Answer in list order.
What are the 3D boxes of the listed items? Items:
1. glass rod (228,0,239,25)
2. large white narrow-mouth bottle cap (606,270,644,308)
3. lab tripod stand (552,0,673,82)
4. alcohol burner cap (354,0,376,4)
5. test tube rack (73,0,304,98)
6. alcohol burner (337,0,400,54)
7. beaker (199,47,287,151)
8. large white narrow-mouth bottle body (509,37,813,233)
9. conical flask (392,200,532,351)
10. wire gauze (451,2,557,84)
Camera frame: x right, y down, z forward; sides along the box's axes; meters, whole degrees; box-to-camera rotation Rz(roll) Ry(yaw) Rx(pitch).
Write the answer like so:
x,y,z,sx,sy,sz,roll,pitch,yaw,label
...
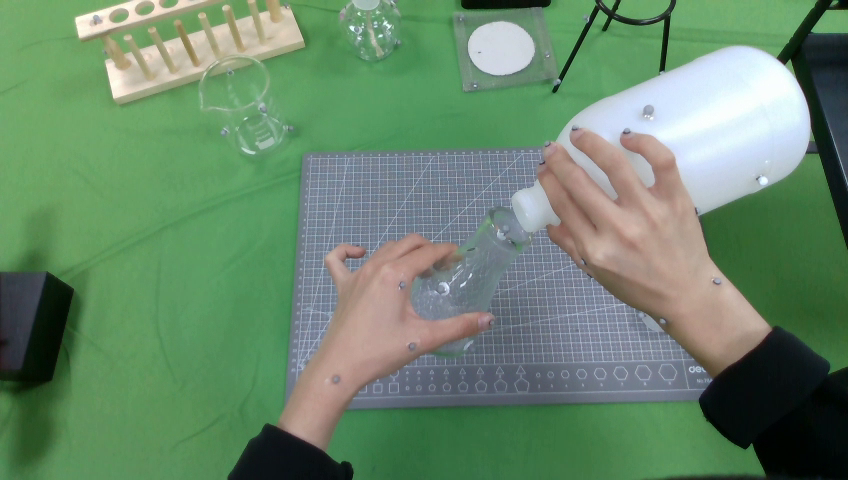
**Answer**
x,y,z,sx,sy,sz,roll,pitch,yaw,label
-0.233,-0.321,0.693,0.008,0.201,0.008,2,65,-3,glass rod
0.211,0.052,0.635,0.038,0.024,0.037,-1,66,3,large white narrow-mouth bottle cap
0.228,-0.246,0.702,0.148,0.132,0.147,1,66,-1,lab tripod stand
-0.069,-0.302,0.700,0.034,0.048,0.033,3,65,-7,alcohol burner cap
-0.279,-0.261,0.740,0.242,0.086,0.066,-20,68,-8,test tube rack
-0.068,-0.285,0.733,0.078,0.120,0.077,0,64,0,alcohol burner
-0.202,-0.152,0.685,0.084,0.101,0.073,-41,71,-15,beaker
0.153,-0.061,0.422,0.195,0.102,0.101,-23,67,-3,large white narrow-mouth bottle body
0.032,0.023,0.457,0.076,0.122,0.074,21,40,-18,conical flask
0.101,-0.257,0.776,0.121,0.011,0.124,-6,67,-3,wire gauze
